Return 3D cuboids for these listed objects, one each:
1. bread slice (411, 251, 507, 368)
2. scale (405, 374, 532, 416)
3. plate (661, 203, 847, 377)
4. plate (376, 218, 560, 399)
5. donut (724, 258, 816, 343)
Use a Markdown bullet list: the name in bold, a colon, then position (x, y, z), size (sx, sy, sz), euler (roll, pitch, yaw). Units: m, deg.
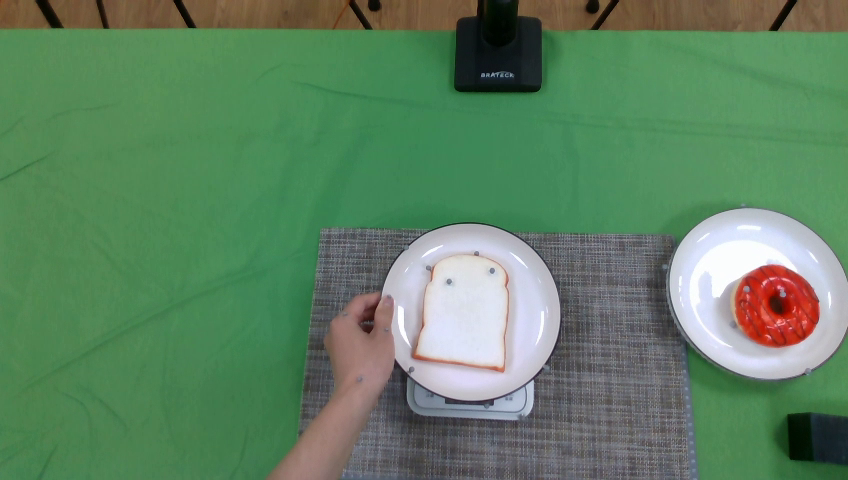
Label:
- **bread slice**: position (0.044, 0.076, 0.701), size (0.105, 0.019, 0.131), euler (6, 74, 3)
- **scale**: position (0.055, 0.104, 0.726), size (0.148, 0.032, 0.199), euler (2, 73, 4)
- **plate**: position (0.385, 0.059, 0.720), size (0.207, 0.039, 0.206), euler (-1, 73, 3)
- **plate**: position (0.050, 0.077, 0.698), size (0.209, 0.038, 0.208), euler (0, 73, 2)
- **donut**: position (0.401, 0.071, 0.703), size (0.099, 0.048, 0.098), euler (0, 77, 2)
